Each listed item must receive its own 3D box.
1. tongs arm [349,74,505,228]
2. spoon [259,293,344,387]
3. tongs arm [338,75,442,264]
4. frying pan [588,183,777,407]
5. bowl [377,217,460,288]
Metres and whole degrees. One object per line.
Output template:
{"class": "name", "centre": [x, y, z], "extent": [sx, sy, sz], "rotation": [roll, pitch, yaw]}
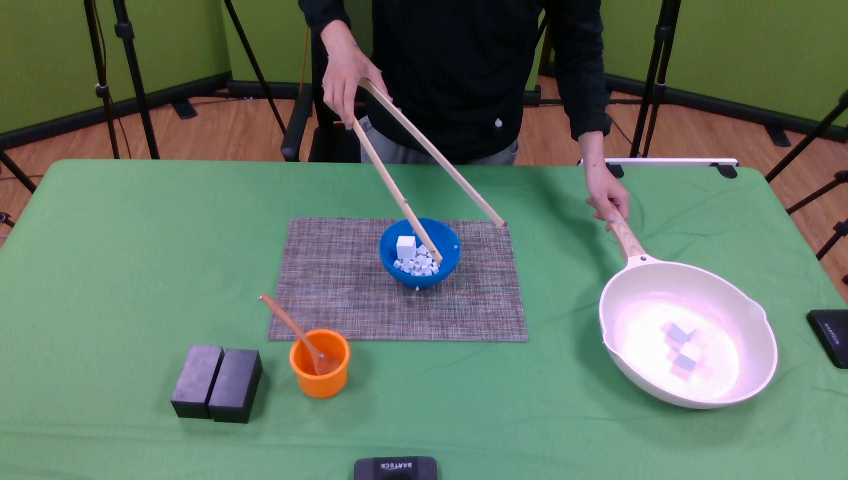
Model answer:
{"class": "tongs arm", "centre": [0.003, -0.160, 1.058], "extent": [0.028, 0.028, 0.386], "rotation": [-39, 77, -19]}
{"class": "spoon", "centre": [-0.191, 0.155, 0.947], "extent": [0.021, 0.194, 0.041], "rotation": [-13, 27, 50]}
{"class": "tongs arm", "centre": [-0.056, -0.127, 1.030], "extent": [0.051, 0.026, 0.383], "rotation": [-27, 72, -20]}
{"class": "frying pan", "centre": [0.412, 0.079, 1.096], "extent": [0.307, 0.103, 0.484], "rotation": [-9, 56, -14]}
{"class": "bowl", "centre": [-0.011, 0.036, 1.118], "extent": [0.151, 0.077, 0.150], "rotation": [2, 46, -2]}
